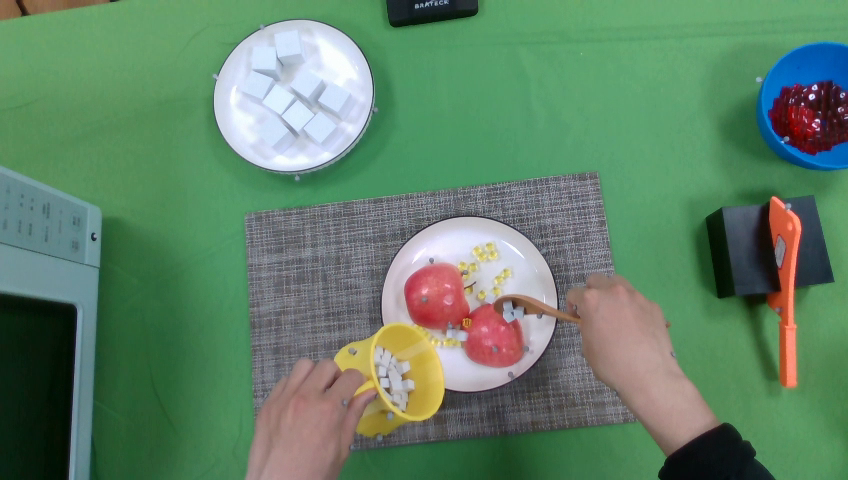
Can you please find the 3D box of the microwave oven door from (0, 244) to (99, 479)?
[{"bbox_3d":[-0.424,0.185,0.613,0.039,0.245,0.354,-4,79,4],"label":"microwave oven door"}]

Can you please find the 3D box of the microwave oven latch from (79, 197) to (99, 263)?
[{"bbox_3d":[-0.423,-0.012,0.752,0.030,0.029,0.079,-1,80,4],"label":"microwave oven latch"}]

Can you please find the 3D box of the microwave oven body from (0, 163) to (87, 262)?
[{"bbox_3d":[-0.570,0.153,0.635,0.326,0.261,0.440,-3,80,3],"label":"microwave oven body"}]

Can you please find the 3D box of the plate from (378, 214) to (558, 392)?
[{"bbox_3d":[0.050,0.073,0.716,0.209,0.038,0.208,-1,80,4],"label":"plate"}]

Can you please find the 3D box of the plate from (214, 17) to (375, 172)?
[{"bbox_3d":[-0.164,-0.185,0.783,0.207,0.039,0.206,-1,80,4],"label":"plate"}]

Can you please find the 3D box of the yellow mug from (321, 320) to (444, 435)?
[{"bbox_3d":[-0.046,0.141,0.598,0.064,0.131,0.099,-33,77,36],"label":"yellow mug"}]

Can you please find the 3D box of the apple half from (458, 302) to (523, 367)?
[{"bbox_3d":[0.077,0.109,0.701,0.081,0.033,0.081,-1,74,4],"label":"apple half"}]

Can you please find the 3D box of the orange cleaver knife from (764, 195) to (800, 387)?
[{"bbox_3d":[0.395,0.057,0.674,0.012,0.077,0.212,-5,103,7],"label":"orange cleaver knife"}]

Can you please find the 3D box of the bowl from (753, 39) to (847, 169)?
[{"bbox_3d":[0.453,-0.147,0.709,0.151,0.077,0.151,-1,80,5],"label":"bowl"}]

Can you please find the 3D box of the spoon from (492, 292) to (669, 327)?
[{"bbox_3d":[0.154,0.075,0.624,0.192,0.042,0.021,6,57,41],"label":"spoon"}]

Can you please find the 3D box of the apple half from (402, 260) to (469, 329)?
[{"bbox_3d":[0.012,0.063,0.705,0.074,0.053,0.080,-9,80,5],"label":"apple half"}]
